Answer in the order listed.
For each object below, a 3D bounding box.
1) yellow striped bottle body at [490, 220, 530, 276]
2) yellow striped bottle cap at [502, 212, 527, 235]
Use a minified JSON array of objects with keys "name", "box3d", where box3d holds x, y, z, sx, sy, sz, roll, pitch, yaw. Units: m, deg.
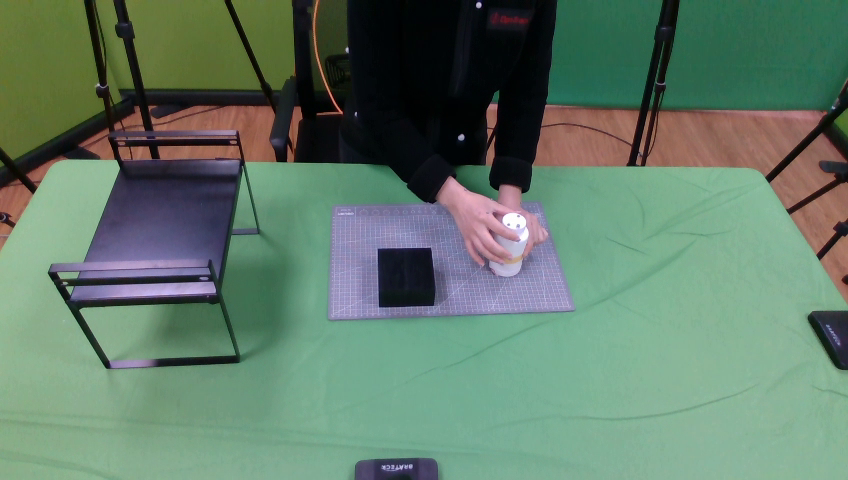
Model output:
[{"name":"yellow striped bottle body","box3d":[0.161,0.006,1.128,0.063,0.121,0.062,2,47,-2]},{"name":"yellow striped bottle cap","box3d":[0.163,-0.030,1.089,0.044,0.019,0.044,3,47,-2]}]
